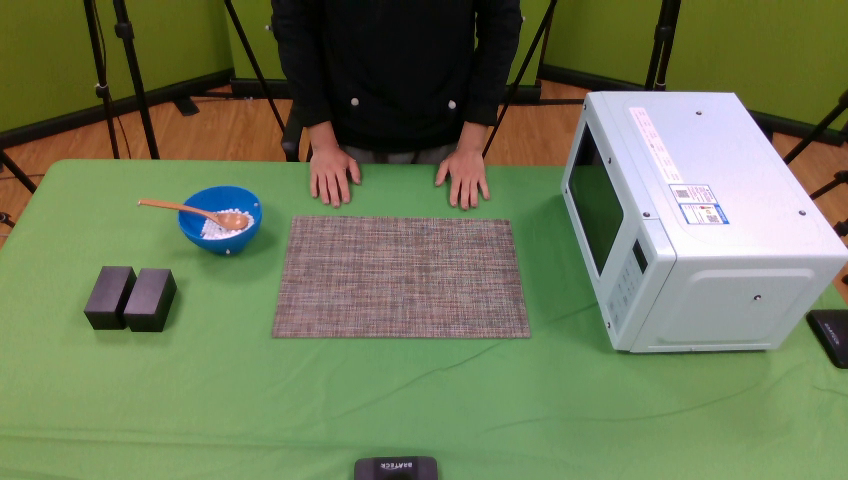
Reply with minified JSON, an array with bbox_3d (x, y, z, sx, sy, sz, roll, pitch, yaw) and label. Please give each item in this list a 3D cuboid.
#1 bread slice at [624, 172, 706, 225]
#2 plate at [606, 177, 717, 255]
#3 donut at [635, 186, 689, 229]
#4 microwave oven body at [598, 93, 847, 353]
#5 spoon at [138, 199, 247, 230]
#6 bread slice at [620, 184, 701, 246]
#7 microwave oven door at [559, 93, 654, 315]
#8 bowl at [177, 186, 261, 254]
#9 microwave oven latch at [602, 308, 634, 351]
[{"bbox_3d":[0.461,-0.079,1.139,0.131,0.019,0.105,35,51,30],"label":"bread slice"},{"bbox_3d":[0.456,-0.043,1.180,0.208,0.039,0.206,1,46,0],"label":"plate"},{"bbox_3d":[0.454,-0.062,1.159,0.099,0.048,0.098,-1,47,2],"label":"donut"},{"bbox_3d":[0.475,-0.041,1.110,0.326,0.261,0.438,-1,45,-4],"label":"microwave oven body"},{"bbox_3d":[-0.431,-0.053,1.136,0.194,0.022,0.041,15,48,-20],"label":"spoon"},{"bbox_3d":[0.462,-0.045,1.170,0.134,0.018,0.107,32,59,20],"label":"bread slice"},{"bbox_3d":[0.327,-0.074,1.123,0.039,0.245,0.353,-1,46,-5],"label":"microwave oven door"},{"bbox_3d":[-0.383,-0.026,1.158,0.151,0.077,0.150,2,46,-2],"label":"bowl"},{"bbox_3d":[0.332,0.153,1.044,0.030,0.029,0.078,-1,45,-4],"label":"microwave oven latch"}]
